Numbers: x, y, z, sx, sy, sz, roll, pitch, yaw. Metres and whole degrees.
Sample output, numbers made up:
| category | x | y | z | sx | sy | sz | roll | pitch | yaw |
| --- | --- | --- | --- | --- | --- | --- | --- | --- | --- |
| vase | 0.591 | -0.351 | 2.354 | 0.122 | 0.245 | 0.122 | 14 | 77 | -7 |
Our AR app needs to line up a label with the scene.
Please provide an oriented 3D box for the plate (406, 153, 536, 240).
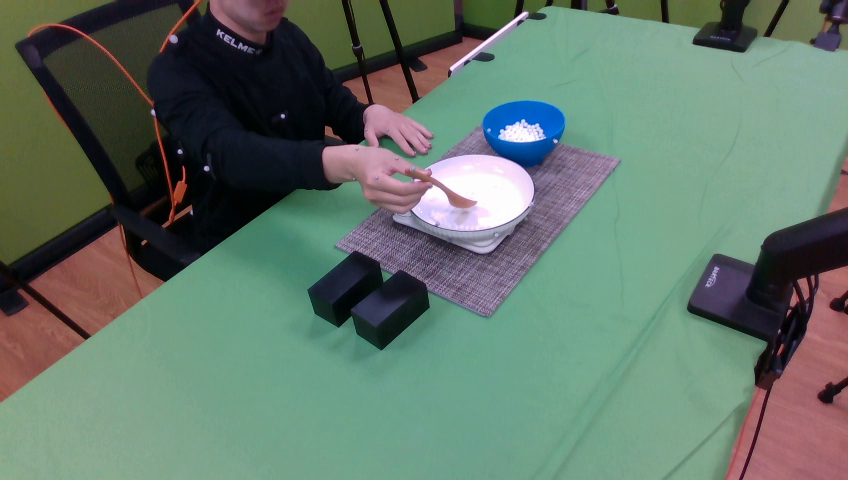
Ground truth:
| category | x | y | z | sx | sy | sz | roll | pitch | yaw |
| --- | --- | --- | --- | --- | --- | --- | --- | --- | --- |
| plate | 0.075 | -0.067 | 0.973 | 0.209 | 0.038 | 0.208 | -4 | 41 | 4 |

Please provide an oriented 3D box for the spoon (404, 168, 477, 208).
| category | x | y | z | sx | sy | sz | roll | pitch | yaw |
| --- | --- | --- | --- | --- | --- | --- | --- | --- | --- |
| spoon | 0.024 | -0.075 | 0.879 | 0.041 | 0.195 | 0.021 | -3 | 74 | 31 |

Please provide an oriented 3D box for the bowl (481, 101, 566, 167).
| category | x | y | z | sx | sy | sz | roll | pitch | yaw |
| --- | --- | --- | --- | --- | --- | --- | --- | --- | --- |
| bowl | 0.182 | -0.186 | 1.111 | 0.151 | 0.077 | 0.150 | -4 | 40 | 4 |

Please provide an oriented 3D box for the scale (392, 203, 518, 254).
| category | x | y | z | sx | sy | sz | roll | pitch | yaw |
| --- | --- | --- | --- | --- | --- | --- | --- | --- | --- |
| scale | 0.061 | -0.051 | 1.006 | 0.199 | 0.032 | 0.149 | 22 | 48 | 30 |
